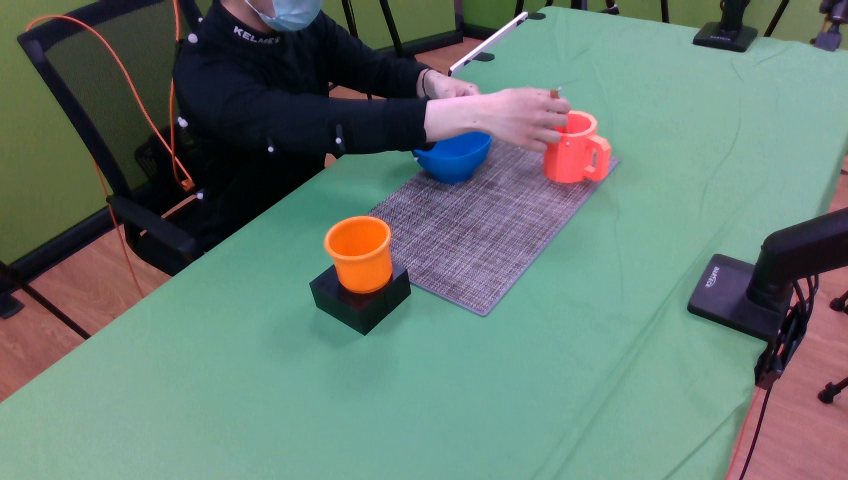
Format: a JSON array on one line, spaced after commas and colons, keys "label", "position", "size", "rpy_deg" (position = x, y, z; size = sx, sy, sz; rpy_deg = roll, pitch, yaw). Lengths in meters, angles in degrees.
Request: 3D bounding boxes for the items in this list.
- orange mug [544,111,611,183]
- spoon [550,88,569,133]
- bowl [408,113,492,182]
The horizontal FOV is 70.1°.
[{"label": "orange mug", "position": [0.266, -0.157, 1.049], "size": [0.084, 0.101, 0.125], "rpy_deg": [-32, 41, -27]}, {"label": "spoon", "position": [0.231, -0.189, 1.004], "size": [0.041, 0.195, 0.021], "rpy_deg": [18, 68, 31]}, {"label": "bowl", "position": [0.050, -0.158, 1.097], "size": [0.151, 0.077, 0.150], "rpy_deg": [-4, 40, 4]}]
